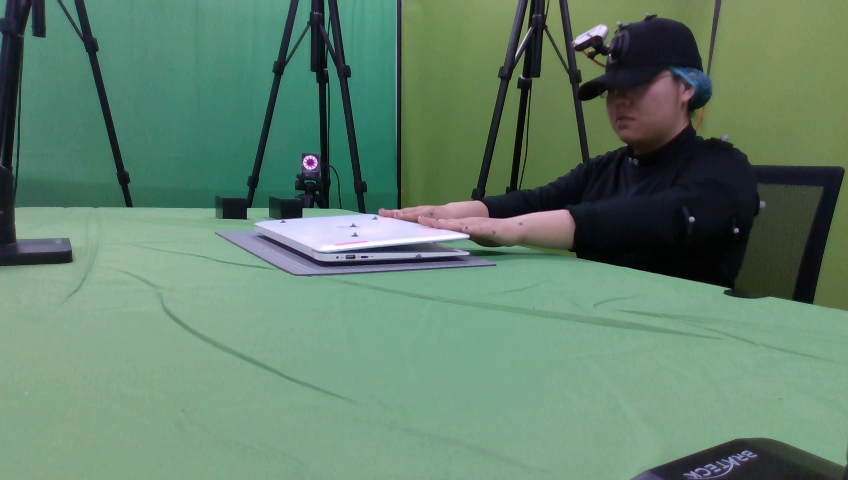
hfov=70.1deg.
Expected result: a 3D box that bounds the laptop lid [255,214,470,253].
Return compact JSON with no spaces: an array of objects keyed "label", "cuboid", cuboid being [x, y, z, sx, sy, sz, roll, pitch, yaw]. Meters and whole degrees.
[{"label":"laptop lid","cuboid":[-0.115,-0.017,0.968,0.243,0.013,0.355,-4,10,-28]}]

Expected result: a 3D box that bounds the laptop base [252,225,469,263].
[{"label":"laptop base","cuboid":[-0.117,0.005,0.971,0.237,0.023,0.352,2,6,-30]}]
